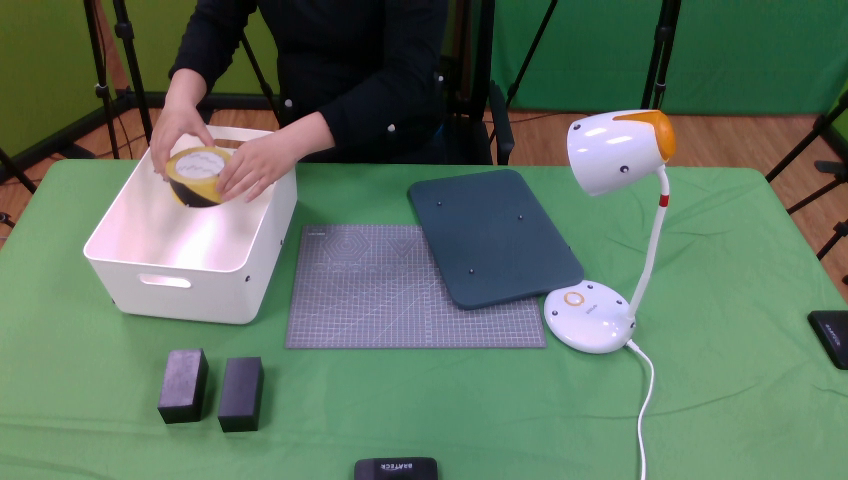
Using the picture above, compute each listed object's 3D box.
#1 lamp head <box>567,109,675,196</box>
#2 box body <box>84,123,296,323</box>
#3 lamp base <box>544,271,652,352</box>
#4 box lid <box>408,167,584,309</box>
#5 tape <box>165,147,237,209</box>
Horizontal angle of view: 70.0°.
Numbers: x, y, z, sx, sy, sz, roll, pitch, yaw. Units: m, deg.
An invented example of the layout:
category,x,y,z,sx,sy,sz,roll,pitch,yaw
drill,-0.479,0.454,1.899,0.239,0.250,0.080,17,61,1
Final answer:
category,x,y,z,sx,sy,sz,roll,pitch,yaw
lamp head,0.272,-0.123,0.818,0.122,0.113,0.112,-9,35,37
box body,-0.393,-0.035,1.104,0.254,0.161,0.362,5,46,1
lamp base,0.310,0.086,1.029,0.178,0.181,0.160,32,52,21
box lid,0.133,-0.018,1.224,0.263,0.015,0.369,-11,45,-12
tape,-0.384,-0.108,1.049,0.117,0.053,0.116,4,42,-3
